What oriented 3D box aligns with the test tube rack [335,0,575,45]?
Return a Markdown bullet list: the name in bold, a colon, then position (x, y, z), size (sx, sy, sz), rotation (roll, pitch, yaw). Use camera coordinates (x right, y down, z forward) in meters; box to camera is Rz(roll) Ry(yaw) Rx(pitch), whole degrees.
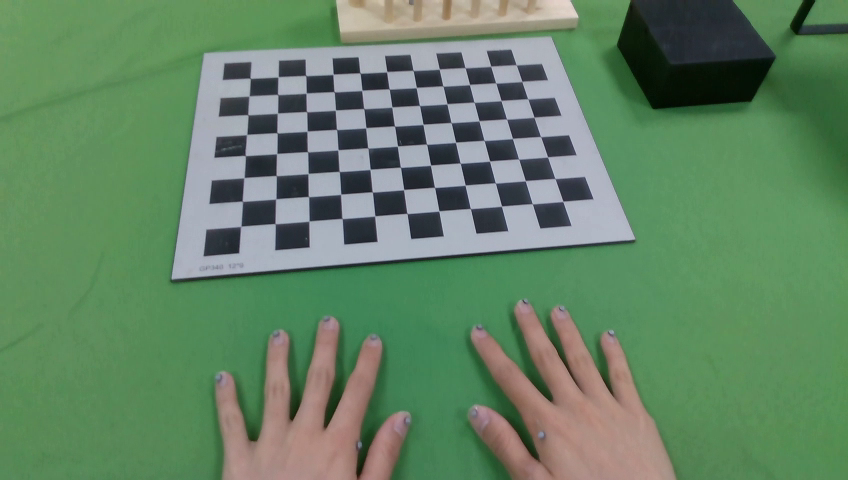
- **test tube rack**: position (0.032, -0.257, 0.601), size (0.243, 0.086, 0.066), rotation (-6, 53, -7)
